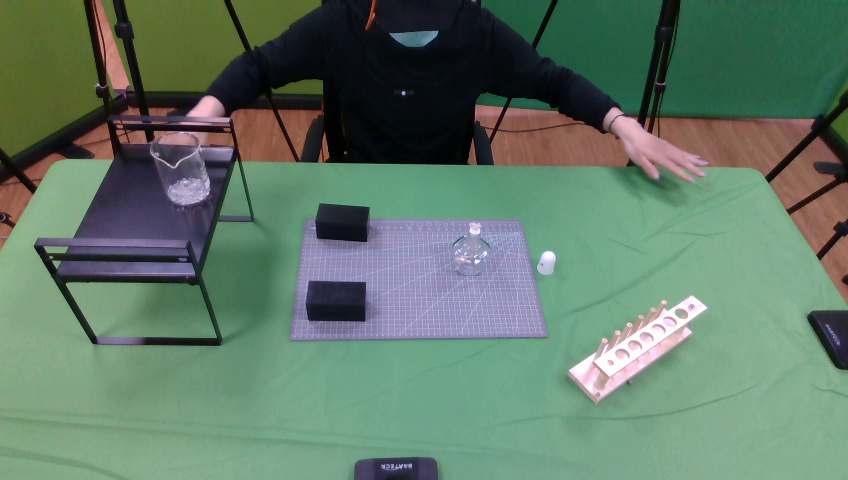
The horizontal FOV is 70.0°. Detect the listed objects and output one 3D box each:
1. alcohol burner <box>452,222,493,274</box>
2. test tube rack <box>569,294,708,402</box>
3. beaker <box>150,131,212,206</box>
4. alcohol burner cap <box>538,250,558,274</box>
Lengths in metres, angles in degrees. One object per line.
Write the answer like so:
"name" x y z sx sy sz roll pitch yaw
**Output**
"alcohol burner" 0.091 0.008 1.124 0.078 0.119 0.077 2 48 -2
"test tube rack" 0.360 0.167 1.015 0.242 0.085 0.066 -25 52 -25
"beaker" -0.385 -0.110 0.969 0.074 0.101 0.083 -6 48 -9
"alcohol burner cap" 0.238 0.039 1.159 0.034 0.048 0.033 3 46 -3
